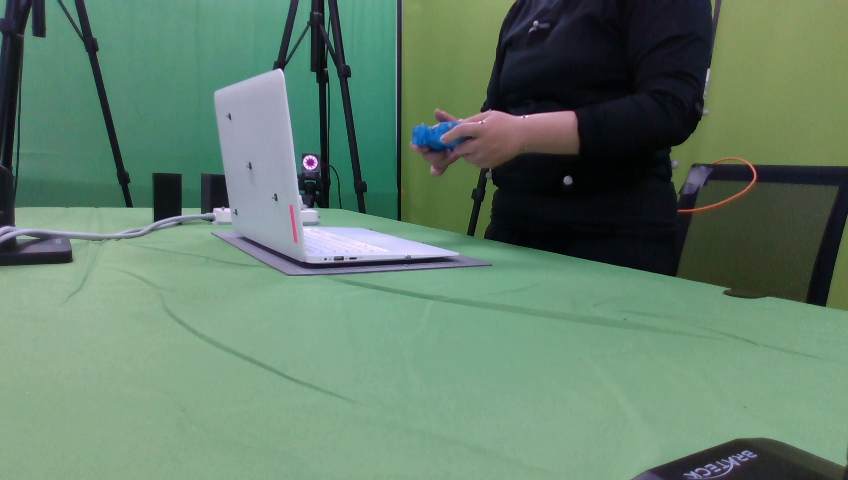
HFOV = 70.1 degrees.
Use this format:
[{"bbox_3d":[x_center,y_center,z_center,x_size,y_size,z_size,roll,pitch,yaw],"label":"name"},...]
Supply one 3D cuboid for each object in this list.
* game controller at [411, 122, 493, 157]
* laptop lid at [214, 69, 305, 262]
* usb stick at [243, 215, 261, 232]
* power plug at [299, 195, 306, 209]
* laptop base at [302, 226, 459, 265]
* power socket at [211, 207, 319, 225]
[{"bbox_3d":[0.044,-0.179,1.051,0.097,0.051,0.154,9,1,-29],"label":"game controller"},{"bbox_3d":[-0.246,-0.107,0.865,0.013,0.241,0.355,-11,14,-30],"label":"laptop lid"},{"bbox_3d":[-0.302,-0.029,1.071,0.021,0.027,0.059,0,11,-30],"label":"usb stick"},{"bbox_3d":[-0.283,-0.075,1.342,0.035,0.052,0.072,0,3,-18],"label":"power plug"},{"bbox_3d":[-0.136,0.006,0.951,0.237,0.023,0.352,2,6,-32],"label":"laptop base"},{"bbox_3d":[-0.334,-0.051,1.281,0.228,0.032,0.072,-1,9,-29],"label":"power socket"}]
